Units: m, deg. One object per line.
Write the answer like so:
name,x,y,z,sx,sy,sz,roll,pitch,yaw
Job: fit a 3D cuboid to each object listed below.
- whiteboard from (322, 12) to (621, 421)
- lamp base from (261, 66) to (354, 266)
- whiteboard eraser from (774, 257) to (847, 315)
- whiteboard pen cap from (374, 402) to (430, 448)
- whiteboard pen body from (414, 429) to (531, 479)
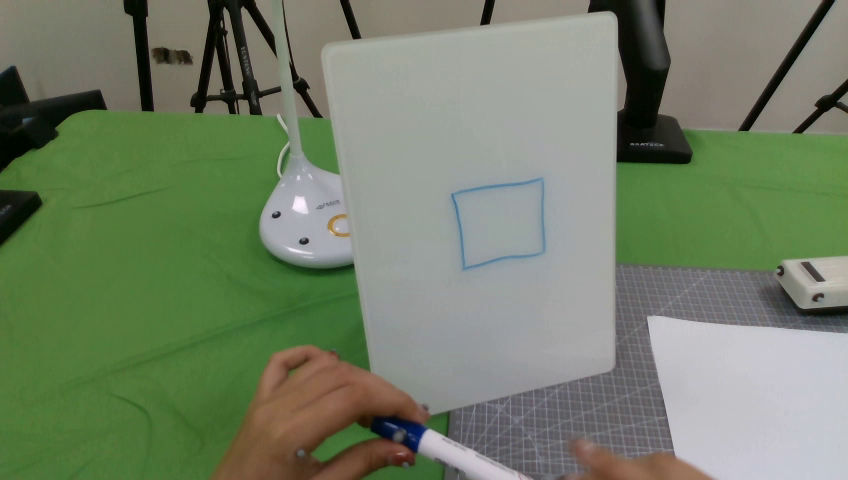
whiteboard,0.038,-0.024,0.530,0.217,0.307,0.142,-10,20,-10
lamp base,-0.119,-0.089,0.667,0.161,0.182,0.177,-30,45,-32
whiteboard eraser,0.415,0.045,0.599,0.113,0.042,0.055,-3,40,-2
whiteboard pen cap,-0.011,0.109,0.352,0.033,0.018,0.018,22,44,18
whiteboard pen body,0.039,0.131,0.334,0.140,0.017,0.017,22,44,17
